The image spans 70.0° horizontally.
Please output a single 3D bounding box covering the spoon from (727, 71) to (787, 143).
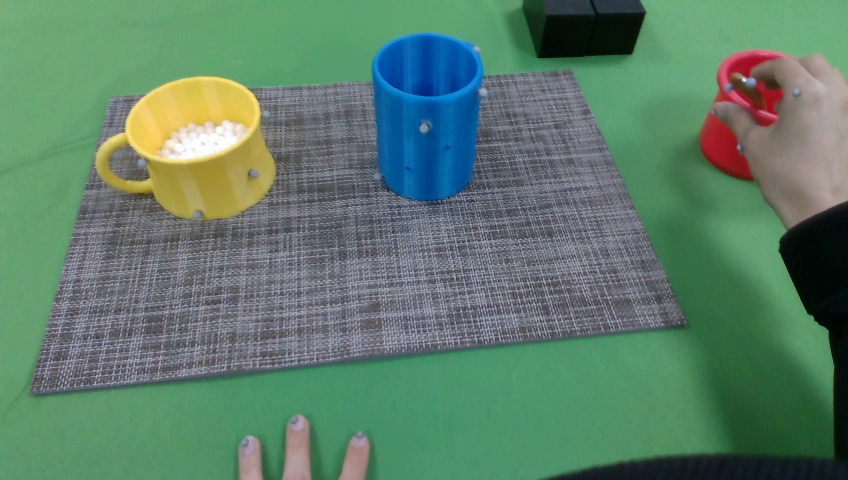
[{"bbox_3d":[0.265,-0.107,0.485,0.041,0.022,0.195,47,20,29],"label":"spoon"}]

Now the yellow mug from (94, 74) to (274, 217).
[{"bbox_3d":[-0.191,-0.072,0.481,0.131,0.064,0.099,-17,55,-14],"label":"yellow mug"}]

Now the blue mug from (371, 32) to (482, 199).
[{"bbox_3d":[0.011,-0.108,0.494,0.082,0.107,0.116,31,57,21],"label":"blue mug"}]
